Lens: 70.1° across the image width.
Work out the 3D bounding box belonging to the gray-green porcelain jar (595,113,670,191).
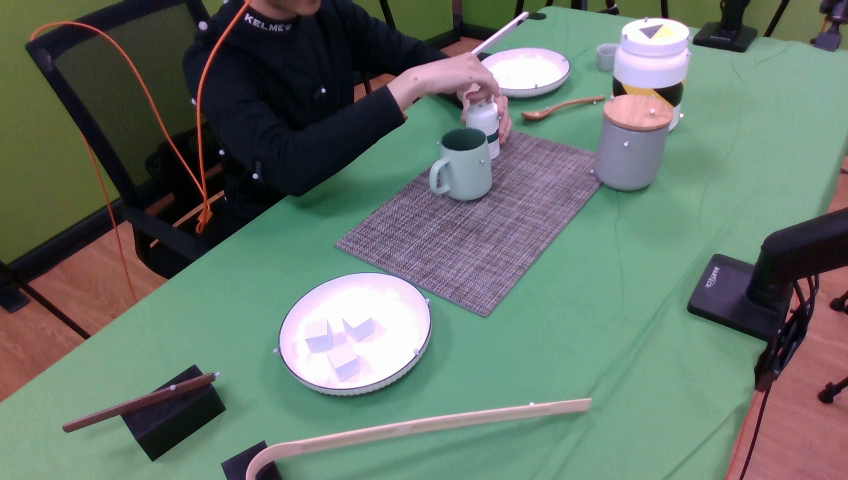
[{"bbox_3d":[0.347,-0.155,1.017,0.106,0.127,0.105,-2,44,2],"label":"gray-green porcelain jar"}]

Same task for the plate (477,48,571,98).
[{"bbox_3d":[0.223,-0.371,1.357,0.209,0.038,0.208,-4,41,4],"label":"plate"}]

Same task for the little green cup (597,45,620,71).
[{"bbox_3d":[0.424,-0.413,1.376,0.061,0.039,0.061,-4,41,4],"label":"little green cup"}]

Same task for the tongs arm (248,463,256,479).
[{"bbox_3d":[0.012,0.262,0.615,0.385,0.026,0.050,2,41,-2],"label":"tongs arm"}]

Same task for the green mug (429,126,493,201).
[{"bbox_3d":[0.060,-0.122,1.035,0.126,0.105,0.091,-34,48,-27],"label":"green mug"}]

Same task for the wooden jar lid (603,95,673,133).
[{"bbox_3d":[0.343,-0.200,0.974,0.108,0.021,0.108,-2,39,2],"label":"wooden jar lid"}]

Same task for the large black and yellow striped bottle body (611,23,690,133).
[{"bbox_3d":[0.421,-0.299,1.132,0.131,0.185,0.130,-5,40,4],"label":"large black and yellow striped bottle body"}]

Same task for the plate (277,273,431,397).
[{"bbox_3d":[-0.091,0.129,0.821,0.207,0.039,0.206,-4,40,4],"label":"plate"}]

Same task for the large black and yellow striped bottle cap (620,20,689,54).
[{"bbox_3d":[0.411,-0.363,1.080,0.115,0.019,0.114,-3,42,4],"label":"large black and yellow striped bottle cap"}]

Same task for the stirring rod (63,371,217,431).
[{"bbox_3d":[-0.337,0.192,0.723,0.177,0.014,0.005,-18,43,-12],"label":"stirring rod"}]

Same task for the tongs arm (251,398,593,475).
[{"bbox_3d":[0.008,0.212,0.675,0.389,0.028,0.028,-5,46,-11],"label":"tongs arm"}]

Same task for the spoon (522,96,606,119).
[{"bbox_3d":[0.291,-0.277,1.249,0.194,0.022,0.041,-18,23,-12],"label":"spoon"}]

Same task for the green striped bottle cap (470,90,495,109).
[{"bbox_3d":[0.104,-0.252,1.083,0.044,0.020,0.044,-4,38,3],"label":"green striped bottle cap"}]

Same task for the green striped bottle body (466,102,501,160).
[{"bbox_3d":[0.110,-0.212,1.120,0.063,0.120,0.063,-4,40,4],"label":"green striped bottle body"}]
